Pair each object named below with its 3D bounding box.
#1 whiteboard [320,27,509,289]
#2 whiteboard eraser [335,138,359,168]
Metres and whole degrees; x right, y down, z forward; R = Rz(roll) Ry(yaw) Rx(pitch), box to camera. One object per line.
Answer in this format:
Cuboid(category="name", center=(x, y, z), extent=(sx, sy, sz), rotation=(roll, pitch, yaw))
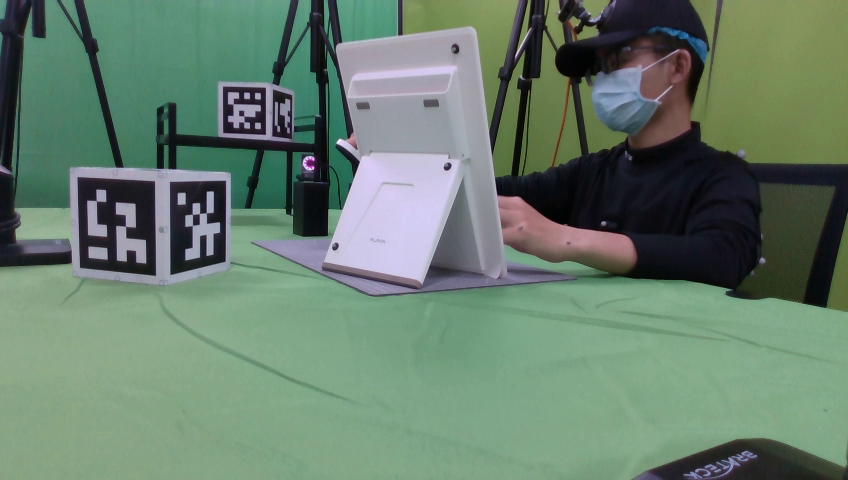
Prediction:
Cuboid(category="whiteboard", center=(-0.045, -0.076, 0.721), extent=(0.216, 0.305, 0.144), rotation=(9, 29, 39))
Cuboid(category="whiteboard eraser", center=(-0.122, -0.148, 1.079), extent=(0.041, 0.019, 0.102), rotation=(28, -11, 39))
